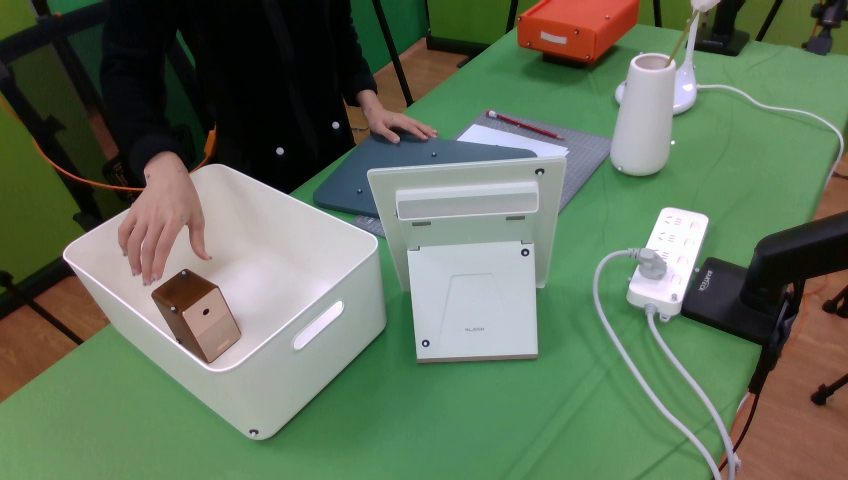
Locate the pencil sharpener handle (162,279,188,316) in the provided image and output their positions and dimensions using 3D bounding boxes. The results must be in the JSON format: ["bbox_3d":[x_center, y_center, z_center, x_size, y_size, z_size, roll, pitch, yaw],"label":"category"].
[{"bbox_3d":[-0.350,0.078,0.841,0.030,0.068,0.036,22,47,32],"label":"pencil sharpener handle"}]

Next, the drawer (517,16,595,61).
[{"bbox_3d":[0.353,-0.505,1.404,0.193,0.073,0.212,25,50,33],"label":"drawer"}]

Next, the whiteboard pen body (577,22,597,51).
[{"bbox_3d":[0.372,-0.468,1.390,0.017,0.017,0.141,14,47,23],"label":"whiteboard pen body"}]

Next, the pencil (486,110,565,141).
[{"bbox_3d":[0.204,-0.232,1.226,0.192,0.012,0.012,29,52,33],"label":"pencil"}]

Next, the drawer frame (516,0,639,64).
[{"bbox_3d":[0.356,-0.507,1.410,0.200,0.083,0.214,25,52,32],"label":"drawer frame"}]

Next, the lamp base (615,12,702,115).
[{"bbox_3d":[0.484,-0.364,1.211,0.180,0.181,0.159,-15,41,-14],"label":"lamp base"}]

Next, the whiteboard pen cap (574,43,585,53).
[{"bbox_3d":[0.346,-0.430,1.350,0.018,0.018,0.033,15,38,24],"label":"whiteboard pen cap"}]

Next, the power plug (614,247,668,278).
[{"bbox_3d":[0.306,0.031,0.851,0.072,0.053,0.035,24,49,33],"label":"power plug"}]

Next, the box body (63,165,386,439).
[{"bbox_3d":[-0.257,0.068,0.824,0.361,0.161,0.255,24,49,31],"label":"box body"}]

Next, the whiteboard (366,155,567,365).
[{"bbox_3d":[0.059,0.050,0.738,0.217,0.307,0.143,-3,60,5],"label":"whiteboard"}]

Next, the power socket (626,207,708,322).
[{"bbox_3d":[0.359,0.025,0.886,0.072,0.033,0.227,16,46,26],"label":"power socket"}]

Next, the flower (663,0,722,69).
[{"bbox_3d":[0.379,-0.261,0.965,0.044,0.362,0.038,21,53,5],"label":"flower"}]

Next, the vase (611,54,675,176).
[{"bbox_3d":[0.377,-0.209,1.031,0.098,0.201,0.097,-3,40,3],"label":"vase"}]

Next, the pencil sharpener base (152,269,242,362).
[{"bbox_3d":[-0.308,0.103,0.824,0.076,0.107,0.061,22,50,32],"label":"pencil sharpener base"}]

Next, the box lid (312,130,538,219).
[{"bbox_3d":[0.007,-0.113,1.114,0.369,0.015,0.263,11,44,21],"label":"box lid"}]

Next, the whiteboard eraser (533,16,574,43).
[{"bbox_3d":[0.305,-0.493,1.423,0.055,0.042,0.113,26,43,25],"label":"whiteboard eraser"}]
